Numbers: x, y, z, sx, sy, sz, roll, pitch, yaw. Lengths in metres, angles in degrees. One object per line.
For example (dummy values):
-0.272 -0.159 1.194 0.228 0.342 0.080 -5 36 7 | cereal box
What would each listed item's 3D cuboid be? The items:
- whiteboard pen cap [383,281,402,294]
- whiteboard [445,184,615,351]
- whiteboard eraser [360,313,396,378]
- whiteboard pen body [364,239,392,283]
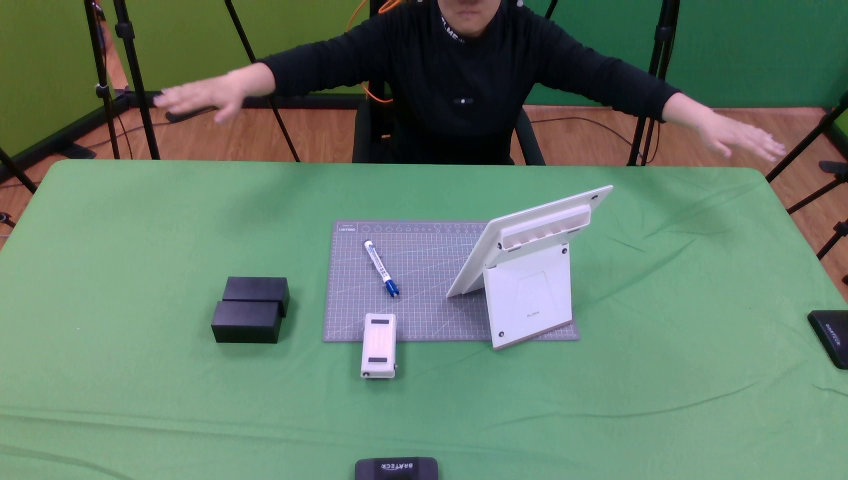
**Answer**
-0.057 0.088 1.104 0.033 0.018 0.018 18 48 11 | whiteboard pen cap
0.186 0.065 0.989 0.217 0.306 0.143 -15 68 -18 | whiteboard
-0.075 0.176 1.006 0.055 0.042 0.112 3 50 -4 | whiteboard eraser
-0.084 0.048 1.143 0.017 0.017 0.140 -16 49 -19 | whiteboard pen body
